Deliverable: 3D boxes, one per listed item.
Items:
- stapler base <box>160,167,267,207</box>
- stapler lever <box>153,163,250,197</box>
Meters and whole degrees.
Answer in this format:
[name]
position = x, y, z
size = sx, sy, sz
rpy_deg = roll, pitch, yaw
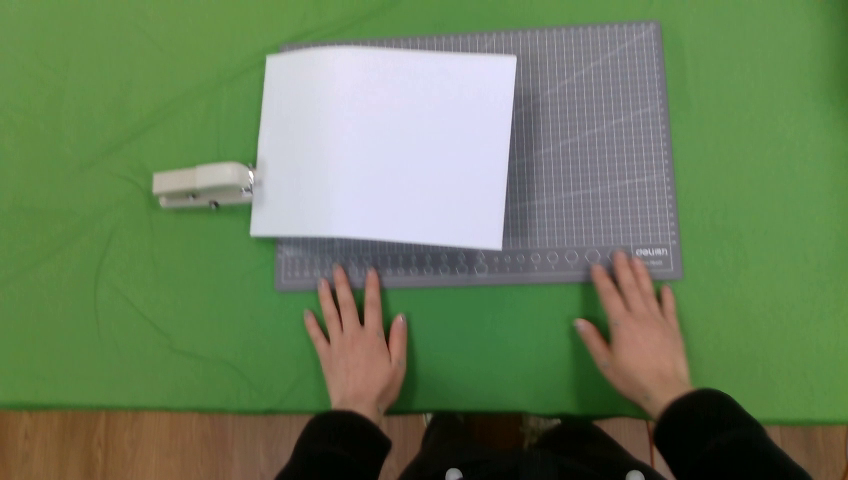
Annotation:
[stapler base]
position = -0.251, -0.065, 0.710
size = 0.130, 0.024, 0.041
rpy_deg = -4, 80, 6
[stapler lever]
position = -0.255, -0.068, 0.686
size = 0.118, 0.040, 0.026
rpy_deg = -3, 80, 5
